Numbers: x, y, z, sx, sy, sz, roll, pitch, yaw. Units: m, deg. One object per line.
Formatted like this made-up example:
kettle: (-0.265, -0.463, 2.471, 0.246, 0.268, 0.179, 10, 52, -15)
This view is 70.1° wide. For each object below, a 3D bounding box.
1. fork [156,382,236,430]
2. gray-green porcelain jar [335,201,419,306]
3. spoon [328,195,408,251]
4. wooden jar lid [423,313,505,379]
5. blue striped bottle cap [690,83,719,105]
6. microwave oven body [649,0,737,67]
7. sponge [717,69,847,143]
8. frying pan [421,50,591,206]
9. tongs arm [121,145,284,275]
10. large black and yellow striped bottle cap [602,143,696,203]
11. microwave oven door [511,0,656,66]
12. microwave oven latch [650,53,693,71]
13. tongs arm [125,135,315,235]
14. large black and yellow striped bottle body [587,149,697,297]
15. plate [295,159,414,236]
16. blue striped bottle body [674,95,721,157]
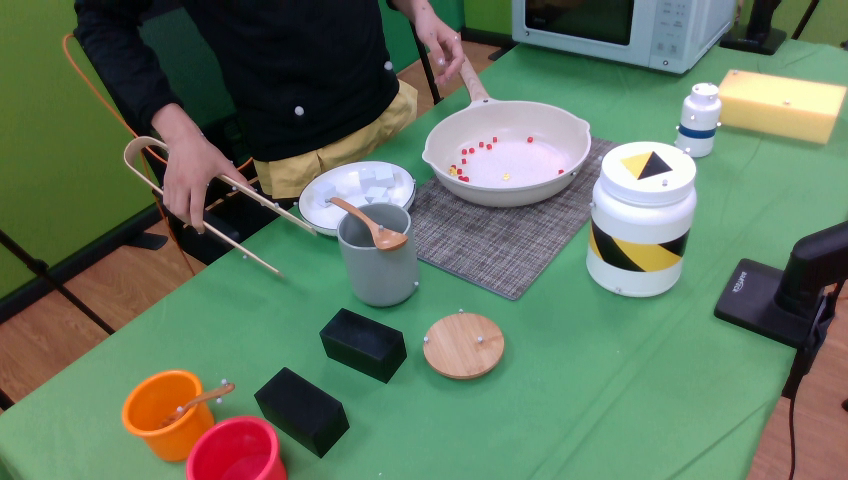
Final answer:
fork: (-0.262, 0.189, 0.690, 0.018, 0.206, 0.028, 49, 43, -7)
gray-green porcelain jar: (-0.064, 0.024, 0.872, 0.106, 0.127, 0.105, -4, 41, 4)
spoon: (-0.083, -0.029, 0.829, 0.042, 0.022, 0.192, -32, 43, -21)
wooden jar lid: (0.053, 0.142, 0.800, 0.108, 0.021, 0.108, -5, 39, 4)
blue striped bottle cap: (0.481, -0.251, 1.038, 0.044, 0.021, 0.044, -5, 40, 5)
microwave oven body: (0.475, -0.602, 1.411, 0.438, 0.261, 0.327, 23, 50, 32)
sponge: (0.663, -0.256, 1.142, 0.205, 0.061, 0.118, 19, 47, 28)
frying pan: (0.127, -0.233, 1.154, 0.307, 0.103, 0.484, -11, 49, -5)
tongs arm: (-0.362, -0.050, 0.963, 0.385, 0.028, 0.028, 33, 81, 21)
large black and yellow striped bottle cap: (0.289, -0.088, 0.779, 0.115, 0.019, 0.114, -5, 39, 4)
microwave oven door: (0.351, -0.539, 1.349, 0.353, 0.245, 0.039, 24, 50, 31)
microwave oven latch: (0.531, -0.386, 1.301, 0.078, 0.029, 0.030, 26, 51, 33)
tongs arm: (-0.336, -0.087, 0.975, 0.382, 0.026, 0.051, 30, 76, 20)
large black and yellow striped bottle body: (0.298, -0.026, 0.835, 0.131, 0.185, 0.130, -4, 41, 4)
plate: (-0.118, -0.070, 1.055, 0.207, 0.039, 0.206, -5, 40, 5)
blue striped bottle body: (0.486, -0.213, 1.071, 0.063, 0.121, 0.063, -4, 41, 4)
